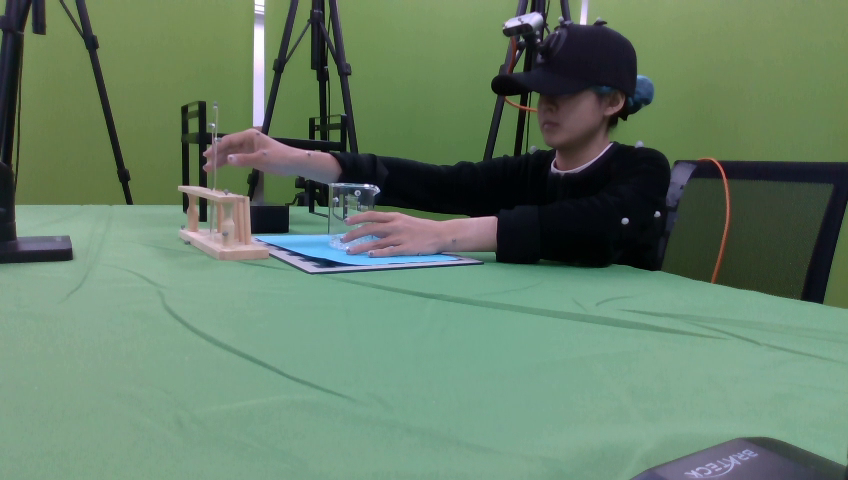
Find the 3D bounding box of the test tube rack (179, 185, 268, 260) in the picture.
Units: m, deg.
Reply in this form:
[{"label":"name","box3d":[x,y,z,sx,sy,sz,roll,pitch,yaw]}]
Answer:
[{"label":"test tube rack","box3d":[-0.303,-0.031,0.898,0.067,0.085,0.241,-2,9,-33]}]

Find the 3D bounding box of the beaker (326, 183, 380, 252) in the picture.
[{"label":"beaker","box3d":[-0.109,-0.035,0.921,0.084,0.100,0.074,6,8,15]}]

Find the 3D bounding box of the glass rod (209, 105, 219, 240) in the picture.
[{"label":"glass rod","box3d":[-0.305,-0.096,0.878,0.008,0.199,0.008,2,0,0]}]
